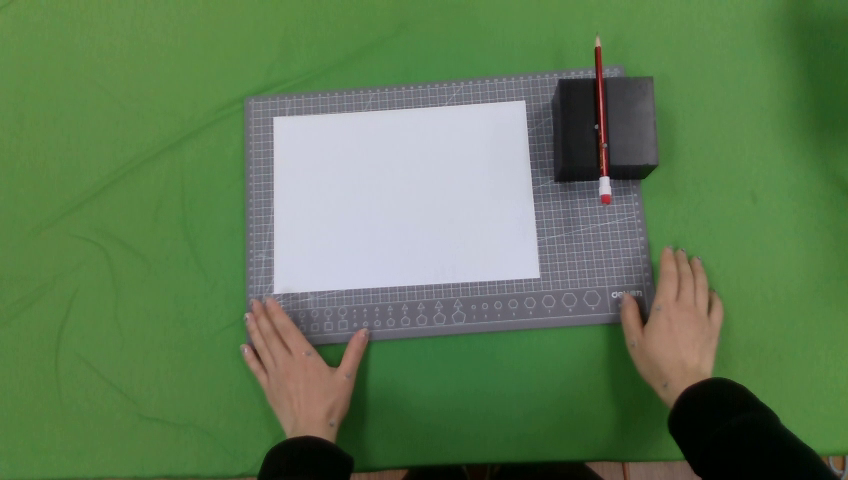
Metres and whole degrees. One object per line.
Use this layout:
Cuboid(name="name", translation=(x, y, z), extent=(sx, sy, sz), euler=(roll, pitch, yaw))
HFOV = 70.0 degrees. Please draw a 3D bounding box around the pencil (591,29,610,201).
Cuboid(name="pencil", translation=(0.186, -0.135, 0.643), extent=(0.012, 0.012, 0.193), euler=(-1, 79, 3))
